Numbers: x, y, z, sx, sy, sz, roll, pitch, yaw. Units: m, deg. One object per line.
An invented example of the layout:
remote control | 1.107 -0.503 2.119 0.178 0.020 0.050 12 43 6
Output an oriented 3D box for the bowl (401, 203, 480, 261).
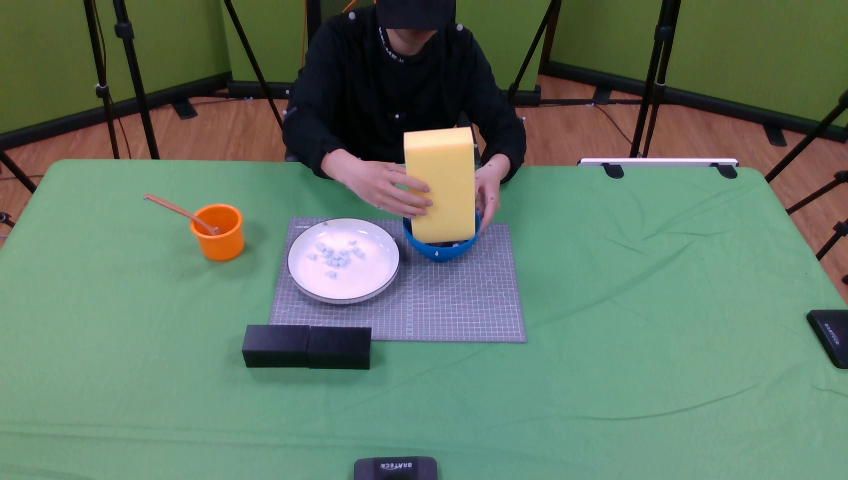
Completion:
bowl | 0.030 -0.012 1.169 0.151 0.077 0.150 2 46 -2

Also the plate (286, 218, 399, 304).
plate | -0.150 0.042 1.131 0.209 0.038 0.208 2 45 -2

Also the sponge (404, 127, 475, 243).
sponge | 0.030 -0.095 1.093 0.118 0.208 0.060 -4 38 0

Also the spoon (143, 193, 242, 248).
spoon | -0.421 -0.037 1.113 0.021 0.195 0.041 -37 37 23
